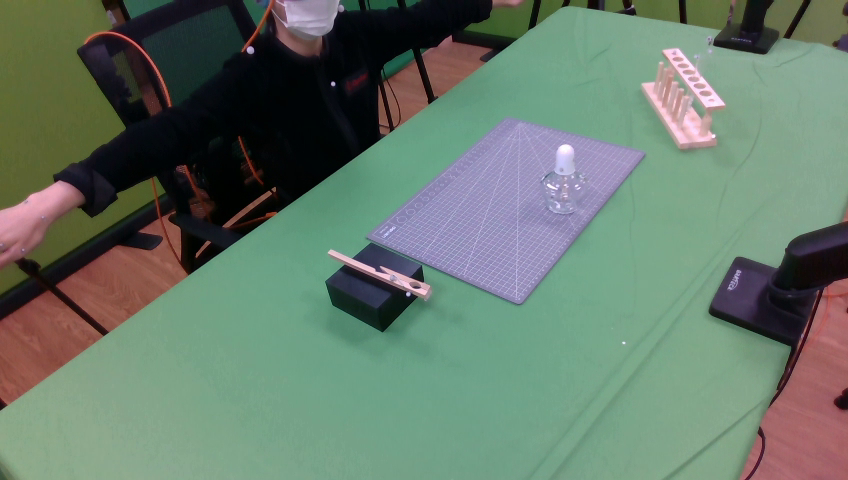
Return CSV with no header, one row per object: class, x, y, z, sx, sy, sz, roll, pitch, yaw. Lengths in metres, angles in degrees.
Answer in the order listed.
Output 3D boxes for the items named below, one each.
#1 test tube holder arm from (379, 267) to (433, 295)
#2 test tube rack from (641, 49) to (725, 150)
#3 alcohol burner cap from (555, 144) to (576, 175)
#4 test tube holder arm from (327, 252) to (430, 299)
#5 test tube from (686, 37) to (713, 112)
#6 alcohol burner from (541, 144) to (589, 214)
test tube holder arm,-0.027,0.057,0.837,0.087,0.015,0.010,18,54,28
test tube rack,0.495,-0.279,1.175,0.067,0.085,0.241,-5,41,3
alcohol burner cap,0.225,-0.129,0.958,0.034,0.048,0.033,-6,37,5
test tube holder arm,-0.068,0.049,0.855,0.177,0.015,0.013,18,54,27
test tube,0.509,-0.306,1.128,0.017,0.151,0.017,-1,45,1
alcohol burner,0.229,-0.102,0.983,0.078,0.119,0.077,-6,40,5
